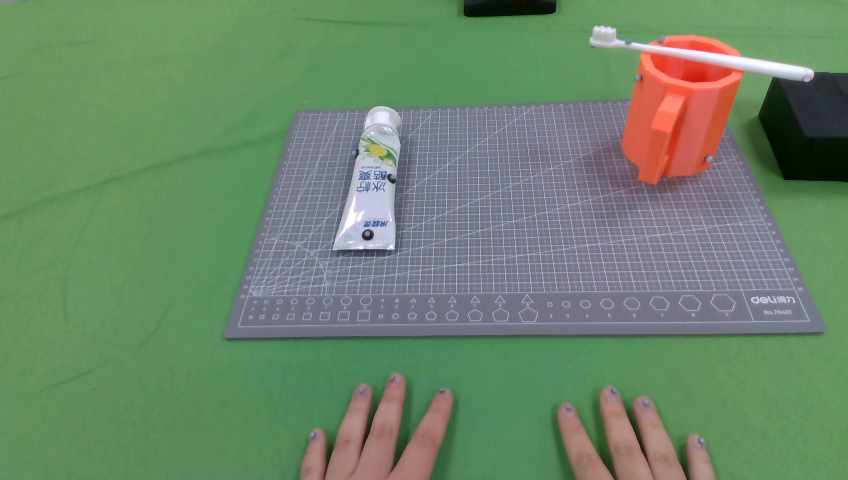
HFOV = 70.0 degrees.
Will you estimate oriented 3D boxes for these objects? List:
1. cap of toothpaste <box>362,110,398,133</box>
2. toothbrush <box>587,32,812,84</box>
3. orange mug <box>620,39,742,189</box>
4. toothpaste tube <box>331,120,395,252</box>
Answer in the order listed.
[{"bbox_3d":[-0.045,-0.116,0.612,0.037,0.038,0.011,2,54,7],"label":"cap of toothpaste"},{"bbox_3d":[0.229,-0.155,0.513,0.181,0.017,0.014,17,45,20],"label":"toothbrush"},{"bbox_3d":[0.222,-0.107,0.542,0.083,0.102,0.126,21,48,23],"label":"orange mug"},{"bbox_3d":[-0.050,-0.055,0.565,0.055,0.035,0.163,-4,51,8],"label":"toothpaste tube"}]
